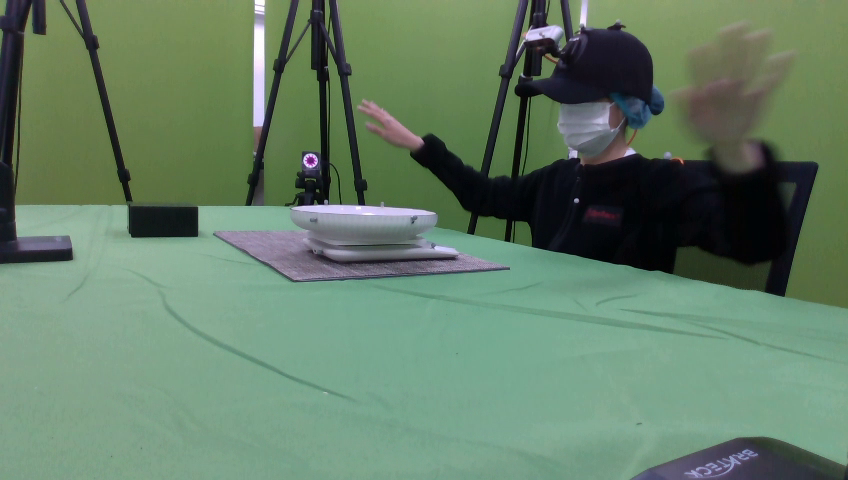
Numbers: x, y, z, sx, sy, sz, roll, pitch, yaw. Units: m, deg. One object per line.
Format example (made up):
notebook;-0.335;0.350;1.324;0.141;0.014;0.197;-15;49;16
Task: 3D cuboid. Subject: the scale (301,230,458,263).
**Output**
scale;-0.065;0.007;0.878;0.202;0.031;0.148;0;8;-29

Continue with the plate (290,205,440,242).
plate;-0.082;-0.024;0.852;0.208;0.039;0.207;3;6;0
